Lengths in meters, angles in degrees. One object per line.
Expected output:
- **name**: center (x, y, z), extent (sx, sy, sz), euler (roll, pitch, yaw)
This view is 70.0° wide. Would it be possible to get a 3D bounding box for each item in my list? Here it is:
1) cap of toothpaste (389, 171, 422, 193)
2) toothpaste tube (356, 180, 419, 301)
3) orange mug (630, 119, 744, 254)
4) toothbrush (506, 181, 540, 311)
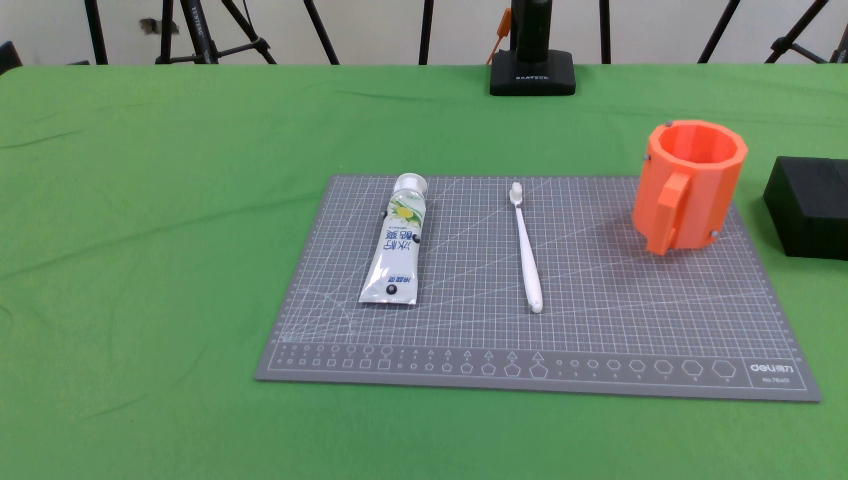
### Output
- **cap of toothpaste**: center (-0.020, -0.060, 0.662), extent (0.037, 0.038, 0.011), euler (4, 48, 8)
- **toothpaste tube**: center (-0.030, -0.004, 0.610), extent (0.055, 0.035, 0.163), euler (-2, 45, 9)
- **orange mug**: center (0.244, -0.047, 0.583), extent (0.083, 0.102, 0.126), euler (21, 43, 27)
- **toothbrush**: center (0.099, 0.000, 0.604), extent (0.014, 0.017, 0.180), euler (7, 42, -7)
